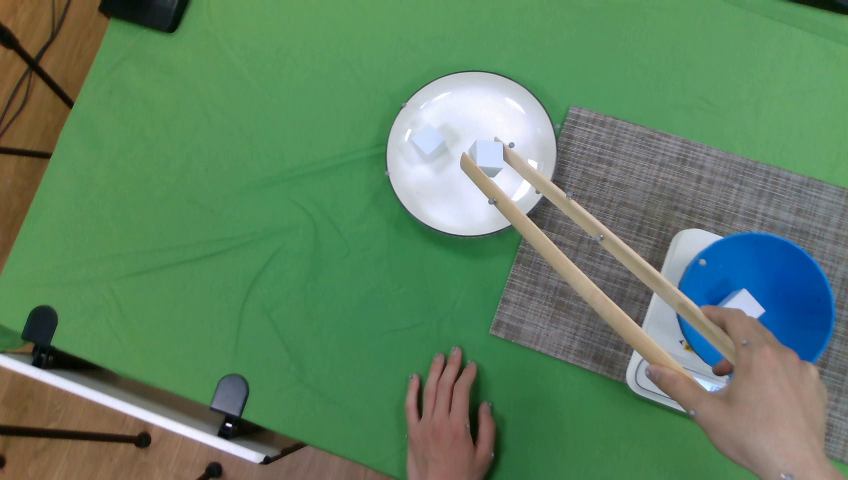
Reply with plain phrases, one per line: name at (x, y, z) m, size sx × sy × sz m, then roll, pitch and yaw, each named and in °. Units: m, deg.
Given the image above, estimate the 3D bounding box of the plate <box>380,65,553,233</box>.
plate at (0.051, -0.109, 0.741) m, size 0.207 × 0.039 × 0.207 m, roll -1°, pitch 81°, yaw 5°

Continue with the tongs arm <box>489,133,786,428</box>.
tongs arm at (0.170, 0.019, 0.567) m, size 0.051 × 0.027 × 0.381 m, roll -29°, pitch 57°, yaw -23°

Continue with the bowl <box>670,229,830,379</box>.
bowl at (0.325, 0.068, 0.634) m, size 0.151 × 0.077 × 0.151 m, roll -1°, pitch 82°, yaw 4°

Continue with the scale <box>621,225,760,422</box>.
scale at (0.322, 0.094, 0.684) m, size 0.148 × 0.032 × 0.200 m, roll 20°, pitch 84°, yaw 8°

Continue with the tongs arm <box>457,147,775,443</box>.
tongs arm at (0.146, 0.030, 0.557) m, size 0.028 × 0.028 × 0.383 m, roll -25°, pitch 55°, yaw -24°
